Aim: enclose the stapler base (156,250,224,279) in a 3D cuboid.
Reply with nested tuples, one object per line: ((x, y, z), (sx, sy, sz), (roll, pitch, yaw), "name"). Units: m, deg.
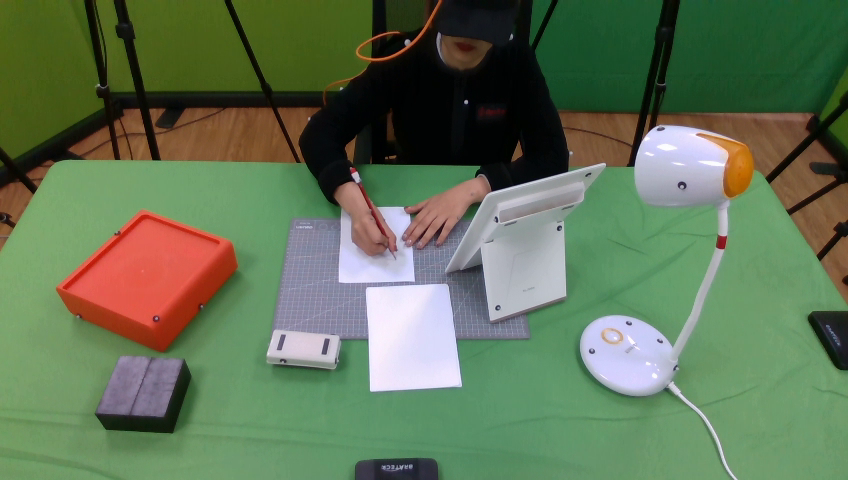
((-0.431, 0.040, 1.111), (0.130, 0.024, 0.041), (11, 38, 17), "stapler base")

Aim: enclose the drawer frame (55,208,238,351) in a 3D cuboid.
((-0.474, 0.062, 1.059), (0.201, 0.083, 0.213), (18, 48, 12), "drawer frame")

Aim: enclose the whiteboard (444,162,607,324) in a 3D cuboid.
((0.186, 0.025, 1.029), (0.217, 0.306, 0.143), (-15, 68, -18), "whiteboard")

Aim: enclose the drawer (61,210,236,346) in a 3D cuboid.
((-0.474, 0.061, 1.063), (0.194, 0.073, 0.211), (19, 48, 13), "drawer")

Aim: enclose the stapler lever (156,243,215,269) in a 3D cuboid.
((-0.433, 0.023, 1.097), (0.118, 0.040, 0.026), (14, 39, 14), "stapler lever")

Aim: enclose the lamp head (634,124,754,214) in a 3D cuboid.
((0.351, -0.089, 0.776), (0.112, 0.113, 0.122), (-30, 30, -28), "lamp head")

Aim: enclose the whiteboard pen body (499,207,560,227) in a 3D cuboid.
((0.222, -0.051, 1.260), (0.141, 0.017, 0.017), (-15, 49, -16), "whiteboard pen body")

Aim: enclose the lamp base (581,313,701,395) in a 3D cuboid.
((0.361, 0.144, 0.973), (0.178, 0.181, 0.160), (34, 53, 23), "lamp base")

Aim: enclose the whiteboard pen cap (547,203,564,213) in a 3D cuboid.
((0.277, -0.066, 1.275), (0.033, 0.018, 0.018), (-18, 50, -15), "whiteboard pen cap")

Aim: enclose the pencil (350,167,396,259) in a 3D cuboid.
((-0.095, -0.050, 1.146), (0.012, 0.194, 0.012), (-24, 13, 6), "pencil")

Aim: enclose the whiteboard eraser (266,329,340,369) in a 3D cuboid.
((-0.198, 0.181, 0.994), (0.113, 0.042, 0.055), (5, 45, 1), "whiteboard eraser")
